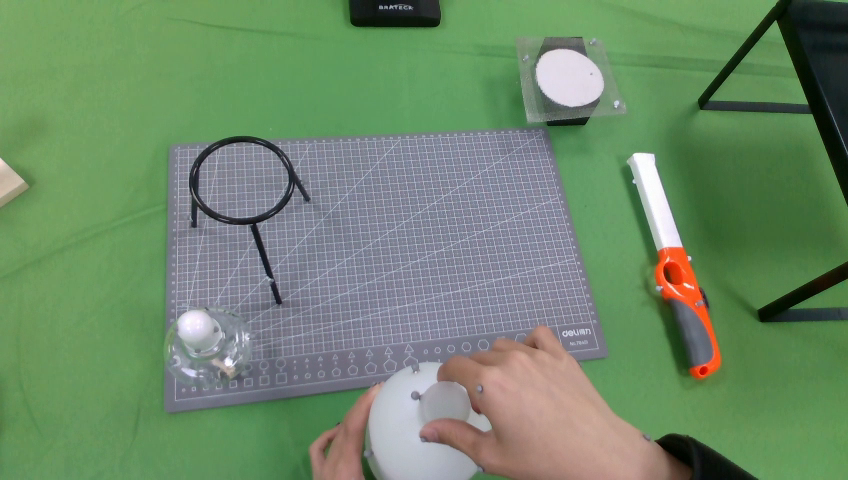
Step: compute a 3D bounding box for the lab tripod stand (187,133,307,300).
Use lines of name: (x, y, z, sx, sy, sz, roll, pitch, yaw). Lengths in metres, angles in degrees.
lab tripod stand: (-0.168, -0.027, 0.592, 0.149, 0.132, 0.147, 4, 66, -8)

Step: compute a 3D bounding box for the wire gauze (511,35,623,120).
wire gauze: (0.172, -0.201, 0.739, 0.122, 0.011, 0.124, -3, 67, -9)

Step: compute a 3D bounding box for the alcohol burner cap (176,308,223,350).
alcohol burner cap: (-0.192, 0.074, 0.513, 0.034, 0.048, 0.033, 2, 71, -7)

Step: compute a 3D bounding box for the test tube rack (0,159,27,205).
test tube rack: (-0.518, -0.017, 0.565, 0.066, 0.085, 0.242, 40, 66, 11)

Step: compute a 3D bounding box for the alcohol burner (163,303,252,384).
alcohol burner: (-0.197, 0.088, 0.546, 0.078, 0.120, 0.077, 4, 64, -8)

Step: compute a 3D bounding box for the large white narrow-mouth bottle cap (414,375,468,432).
large white narrow-mouth bottle cap: (0.011, 0.114, 0.421, 0.038, 0.024, 0.037, 3, 65, -6)

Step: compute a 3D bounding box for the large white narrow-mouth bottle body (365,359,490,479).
large white narrow-mouth bottle body: (0.002, 0.155, 0.504, 0.102, 0.196, 0.101, 3, 65, -6)

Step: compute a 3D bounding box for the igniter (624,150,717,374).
igniter: (0.282, 0.017, 0.699, 0.057, 0.025, 0.274, 0, 66, -20)
